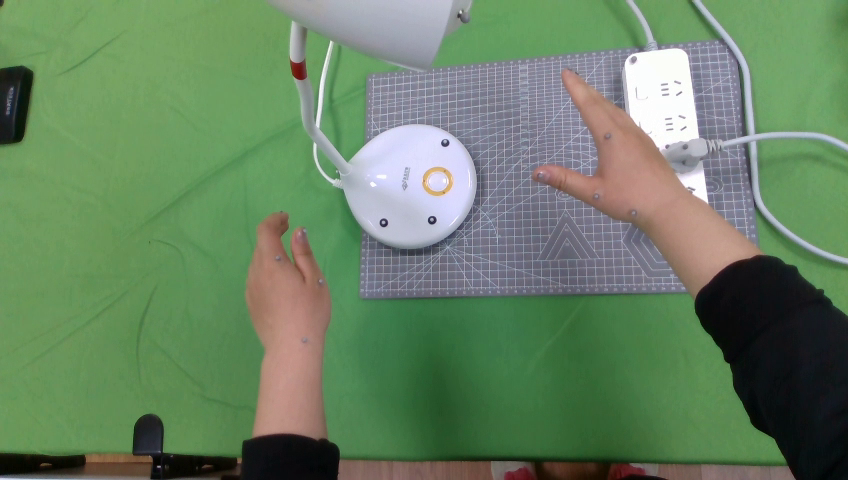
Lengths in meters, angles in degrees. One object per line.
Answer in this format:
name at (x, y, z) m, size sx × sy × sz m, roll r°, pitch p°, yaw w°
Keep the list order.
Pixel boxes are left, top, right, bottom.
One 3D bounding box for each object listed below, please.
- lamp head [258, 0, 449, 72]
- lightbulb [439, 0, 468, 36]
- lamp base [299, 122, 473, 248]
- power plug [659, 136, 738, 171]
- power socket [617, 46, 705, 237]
lamp head at (-0.049, -0.168, 0.376) m, size 0.123 × 0.112 × 0.112 m, roll 4°, pitch 77°, yaw -9°
lightbulb at (-0.024, -0.163, 0.375) m, size 0.108 × 0.059 × 0.059 m, roll 13°, pitch 79°, yaw -13°
lamp base at (-0.048, -0.084, 0.667) m, size 0.179 × 0.181 × 0.159 m, roll -7°, pitch 76°, yaw 13°
power plug at (0.292, -0.091, 0.654) m, size 0.072 × 0.053 × 0.035 m, roll 7°, pitch 80°, yaw 11°
power socket at (0.266, -0.117, 0.685) m, size 0.072 × 0.033 × 0.225 m, roll -4°, pitch 76°, yaw 10°
